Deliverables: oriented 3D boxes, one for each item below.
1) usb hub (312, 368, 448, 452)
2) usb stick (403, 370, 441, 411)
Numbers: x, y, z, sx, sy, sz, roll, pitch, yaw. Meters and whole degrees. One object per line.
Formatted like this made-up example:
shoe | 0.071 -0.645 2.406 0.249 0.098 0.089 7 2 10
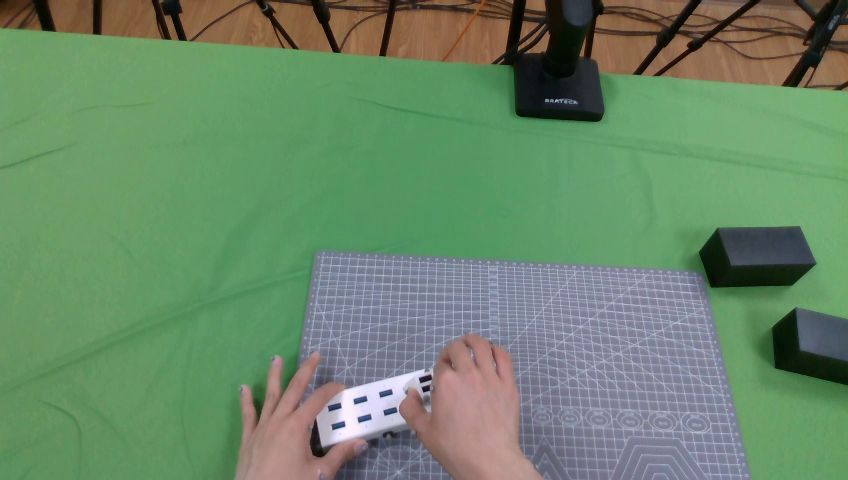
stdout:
usb hub | -0.043 0.164 0.590 0.125 0.025 0.049 -12 57 -11
usb stick | -0.004 0.141 0.560 0.021 0.059 0.027 -14 67 -21
